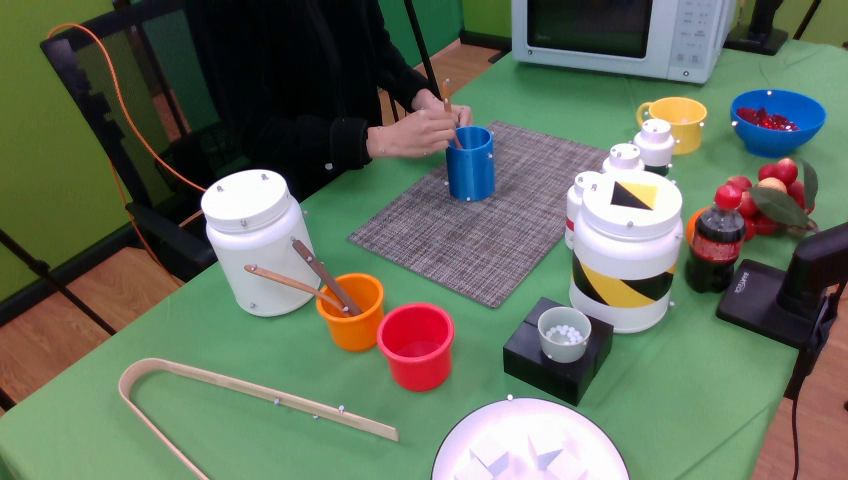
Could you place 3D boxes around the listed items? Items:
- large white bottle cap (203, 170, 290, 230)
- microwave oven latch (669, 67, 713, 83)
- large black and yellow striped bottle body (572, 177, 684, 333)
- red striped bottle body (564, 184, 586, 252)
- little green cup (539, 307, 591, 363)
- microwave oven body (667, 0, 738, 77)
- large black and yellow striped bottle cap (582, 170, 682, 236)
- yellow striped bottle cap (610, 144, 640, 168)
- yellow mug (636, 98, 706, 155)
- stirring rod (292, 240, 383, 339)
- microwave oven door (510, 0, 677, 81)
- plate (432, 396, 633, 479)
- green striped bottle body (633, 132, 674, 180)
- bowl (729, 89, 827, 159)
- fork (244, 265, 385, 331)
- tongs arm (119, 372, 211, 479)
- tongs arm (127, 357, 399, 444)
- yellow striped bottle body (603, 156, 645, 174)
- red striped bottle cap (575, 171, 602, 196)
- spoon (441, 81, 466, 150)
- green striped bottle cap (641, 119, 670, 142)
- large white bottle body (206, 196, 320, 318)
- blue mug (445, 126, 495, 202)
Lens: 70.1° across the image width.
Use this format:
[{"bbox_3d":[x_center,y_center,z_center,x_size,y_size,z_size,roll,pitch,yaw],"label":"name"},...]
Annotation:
[{"bbox_3d":[-0.241,-0.057,0.822,0.115,0.018,0.114,-4,41,4],"label":"large white bottle cap"},{"bbox_3d":[0.556,-0.348,1.261,0.078,0.029,0.030,16,46,27],"label":"microwave oven latch"},{"bbox_3d":[0.262,0.017,0.788,0.131,0.185,0.130,-5,40,4],"label":"large black and yellow striped bottle body"},{"bbox_3d":[0.247,-0.041,0.910,0.063,0.120,0.062,-3,39,3],"label":"red striped bottle body"},{"bbox_3d":[0.167,0.114,0.721,0.061,0.039,0.061,-4,43,4],"label":"little green cup"},{"bbox_3d":[0.462,-0.552,1.369,0.439,0.261,0.326,15,45,26],"label":"microwave oven body"},{"bbox_3d":[0.252,-0.048,0.735,0.115,0.019,0.114,-3,40,3],"label":"large black and yellow striped bottle cap"},{"bbox_3d":[0.307,-0.128,0.923,0.044,0.019,0.044,-5,39,5],"label":"yellow striped bottle cap"},{"bbox_3d":[0.453,-0.217,1.128,0.100,0.064,0.129,-34,46,-27],"label":"yellow mug"},{"bbox_3d":[-0.118,0.068,0.826,0.176,0.006,0.014,49,59,-4],"label":"stirring rod"},{"bbox_3d":[0.354,-0.478,1.290,0.353,0.245,0.039,15,45,25],"label":"microwave oven door"},{"bbox_3d":[0.112,0.261,0.634,0.209,0.038,0.208,-5,40,4],"label":"plate"},{"bbox_3d":[0.376,-0.135,1.001,0.063,0.120,0.063,-5,40,4],"label":"green striped bottle body"},{"bbox_3d":[0.615,-0.197,1.069,0.151,0.077,0.150,-5,40,5],"label":"bowl"},{"bbox_3d":[-0.142,0.078,0.806,0.209,0.018,0.028,30,32,-23],"label":"fork"},{"bbox_3d":[-0.257,0.256,0.700,0.384,0.028,0.028,24,55,33],"label":"tongs arm"},{"bbox_3d":[-0.213,0.205,0.755,0.382,0.026,0.051,12,46,23],"label":"tongs arm"},{"bbox_3d":[0.313,-0.089,0.956,0.063,0.121,0.062,-4,40,4],"label":"yellow striped bottle body"},{"bbox_3d":[0.242,-0.081,0.876,0.044,0.018,0.044,-5,44,5],"label":"red striped bottle cap"},{"bbox_3d":[0.054,-0.175,1.002,0.042,0.195,0.021,-41,40,-23],"label":"spoon"},{"bbox_3d":[0.371,-0.175,0.968,0.044,0.020,0.044,-5,42,5],"label":"green striped bottle cap"},{"bbox_3d":[-0.233,0.008,0.876,0.130,0.185,0.130,-4,40,4],"label":"large white bottle body"},{"bbox_3d":[0.077,-0.142,1.062,0.082,0.106,0.115,-14,40,-8],"label":"blue mug"}]
